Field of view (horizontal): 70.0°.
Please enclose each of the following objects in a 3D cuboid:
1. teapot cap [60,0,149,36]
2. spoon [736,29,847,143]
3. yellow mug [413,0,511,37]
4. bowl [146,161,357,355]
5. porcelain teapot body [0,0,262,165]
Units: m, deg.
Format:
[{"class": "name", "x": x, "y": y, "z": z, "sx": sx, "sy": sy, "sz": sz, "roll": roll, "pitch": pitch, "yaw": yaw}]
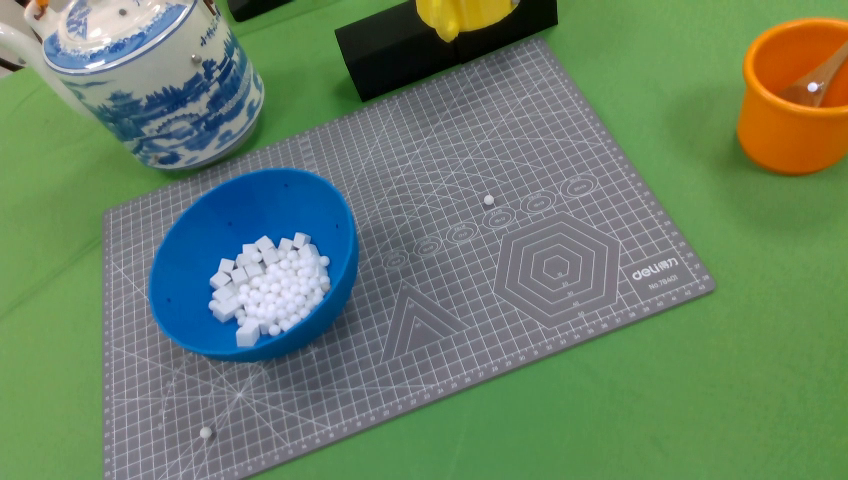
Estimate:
[{"class": "teapot cap", "x": -0.258, "y": -0.198, "z": 0.490, "sx": 0.085, "sy": 0.044, "sz": 0.084, "roll": -8, "pitch": 59, "yaw": 13}, {"class": "spoon", "x": 0.291, "y": -0.140, "z": 0.402, "sx": 0.022, "sy": 0.194, "sz": 0.041, "roll": 6, "pitch": 46, "yaw": -34}, {"class": "yellow mug", "x": 0.027, "y": -0.232, "z": 0.519, "sx": 0.099, "sy": 0.064, "sz": 0.130, "roll": 8, "pitch": 63, "yaw": 19}, {"class": "bowl", "x": -0.113, "y": 0.024, "z": 0.446, "sx": 0.151, "sy": 0.077, "sz": 0.150, "roll": -7, "pitch": 57, "yaw": 11}, {"class": "porcelain teapot body", "x": -0.277, "y": -0.173, "z": 0.527, "sx": 0.205, "sy": 0.227, "sz": 0.144, "roll": -11, "pitch": 57, "yaw": 9}]
